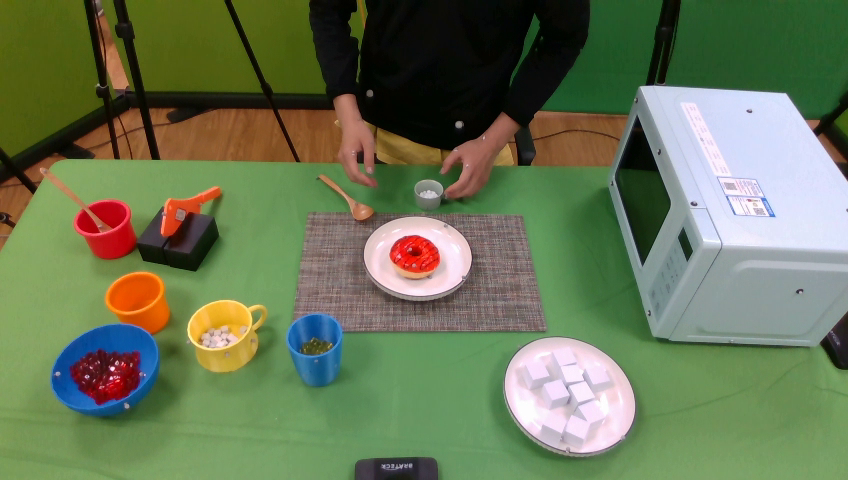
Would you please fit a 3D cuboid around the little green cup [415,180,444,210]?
[{"bbox_3d":[0.011,-0.094,1.278,0.061,0.039,0.061,3,47,-4],"label":"little green cup"}]

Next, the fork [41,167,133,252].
[{"bbox_3d":[-0.624,-0.056,1.121,0.208,0.018,0.028,49,51,-15],"label":"fork"}]

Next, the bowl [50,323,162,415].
[{"bbox_3d":[-0.472,0.209,0.924,0.151,0.077,0.150,3,45,-2],"label":"bowl"}]

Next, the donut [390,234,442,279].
[{"bbox_3d":[-0.016,0.031,1.135,0.099,0.048,0.098,4,44,-3],"label":"donut"}]

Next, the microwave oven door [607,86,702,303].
[{"bbox_3d":[0.423,-0.094,1.141,0.039,0.245,0.353,2,46,-1],"label":"microwave oven door"}]

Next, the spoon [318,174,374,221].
[{"bbox_3d":[-0.168,-0.094,1.274,0.041,0.022,0.192,-39,57,-14],"label":"spoon"}]

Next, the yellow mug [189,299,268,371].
[{"bbox_3d":[-0.316,0.148,1.002,0.131,0.064,0.099,-32,56,-31],"label":"yellow mug"}]

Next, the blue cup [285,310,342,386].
[{"bbox_3d":[-0.170,0.179,0.958,0.093,0.101,0.092,2,44,-1],"label":"blue cup"}]

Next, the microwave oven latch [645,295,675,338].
[{"bbox_3d":[0.412,0.134,1.061,0.030,0.029,0.078,3,45,0],"label":"microwave oven latch"}]

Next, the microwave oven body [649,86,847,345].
[{"bbox_3d":[0.568,-0.053,1.118,0.326,0.261,0.439,2,45,-1],"label":"microwave oven body"}]

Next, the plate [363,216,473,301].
[{"bbox_3d":[-0.012,0.038,1.144,0.209,0.038,0.208,2,46,-2],"label":"plate"}]

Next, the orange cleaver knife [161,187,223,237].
[{"bbox_3d":[-0.448,-0.058,1.181,0.012,0.077,0.211,13,17,6],"label":"orange cleaver knife"}]

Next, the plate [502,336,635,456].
[{"bbox_3d":[0.225,0.248,0.963,0.208,0.039,0.206,2,46,-2],"label":"plate"}]
